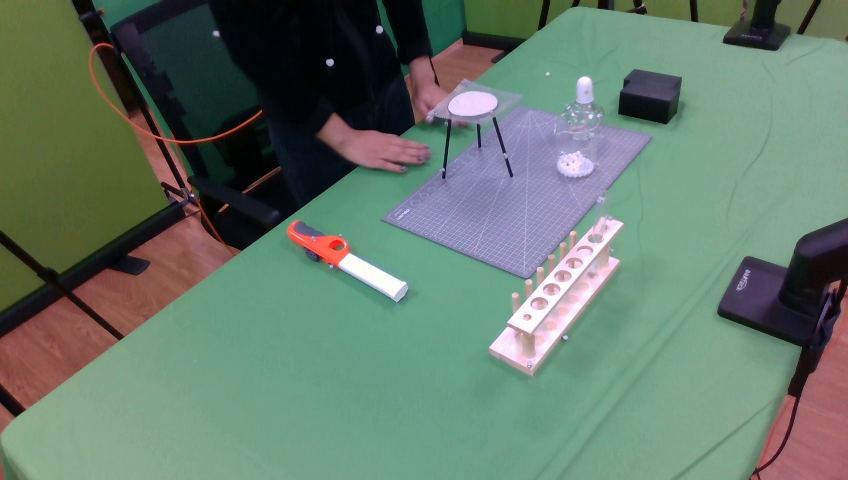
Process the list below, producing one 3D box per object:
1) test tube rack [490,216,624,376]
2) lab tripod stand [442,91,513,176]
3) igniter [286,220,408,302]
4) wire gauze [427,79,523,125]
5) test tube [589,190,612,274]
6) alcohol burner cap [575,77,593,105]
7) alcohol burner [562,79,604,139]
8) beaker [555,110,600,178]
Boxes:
[{"bbox_3d":[0.184,0.064,0.822,0.066,0.085,0.243,24,50,33],"label":"test tube rack"},{"bbox_3d":[0.096,-0.190,1.096,0.148,0.132,0.147,-4,40,4],"label":"lab tripod stand"},{"bbox_3d":[-0.134,0.028,0.969,0.274,0.025,0.057,26,61,35],"label":"igniter"},{"bbox_3d":[0.088,-0.239,1.050,0.120,0.011,0.125,22,49,30],"label":"wire gauze"},{"bbox_3d":[0.238,-0.006,0.817,0.017,0.151,0.017,-4,45,4],"label":"test tube"},{"bbox_3d":[0.297,-0.279,1.123,0.034,0.048,0.033,-8,41,8],"label":"alcohol burner cap"},{"bbox_3d":[0.303,-0.253,1.147,0.078,0.119,0.077,-4,41,4],"label":"alcohol burner"},{"bbox_3d":[0.266,-0.165,1.062,0.084,0.101,0.073,-24,42,-16],"label":"beaker"}]
